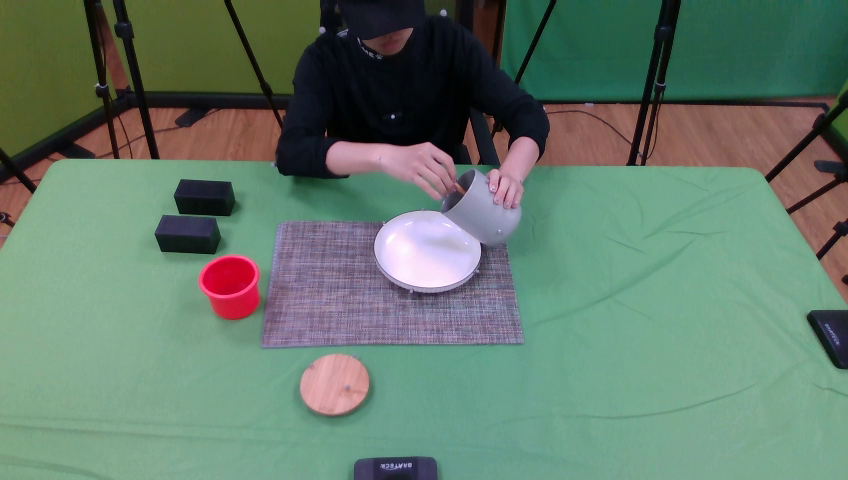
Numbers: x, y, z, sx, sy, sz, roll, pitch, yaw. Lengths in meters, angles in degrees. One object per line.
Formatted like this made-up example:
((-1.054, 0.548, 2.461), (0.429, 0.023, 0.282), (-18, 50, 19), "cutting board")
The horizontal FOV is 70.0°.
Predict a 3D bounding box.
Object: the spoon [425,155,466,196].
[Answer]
((0.072, -0.087, 1.110), (0.194, 0.021, 0.041), (41, 80, -2), "spoon")

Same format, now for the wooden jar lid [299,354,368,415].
((-0.143, 0.232, 0.964), (0.108, 0.021, 0.107), (2, 45, -2), "wooden jar lid")

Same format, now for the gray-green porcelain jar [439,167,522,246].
((0.110, -0.057, 1.130), (0.127, 0.106, 0.105), (34, 44, -18), "gray-green porcelain jar")

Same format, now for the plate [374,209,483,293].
((0.008, 0.024, 1.158), (0.208, 0.039, 0.206), (2, 46, -2), "plate")
